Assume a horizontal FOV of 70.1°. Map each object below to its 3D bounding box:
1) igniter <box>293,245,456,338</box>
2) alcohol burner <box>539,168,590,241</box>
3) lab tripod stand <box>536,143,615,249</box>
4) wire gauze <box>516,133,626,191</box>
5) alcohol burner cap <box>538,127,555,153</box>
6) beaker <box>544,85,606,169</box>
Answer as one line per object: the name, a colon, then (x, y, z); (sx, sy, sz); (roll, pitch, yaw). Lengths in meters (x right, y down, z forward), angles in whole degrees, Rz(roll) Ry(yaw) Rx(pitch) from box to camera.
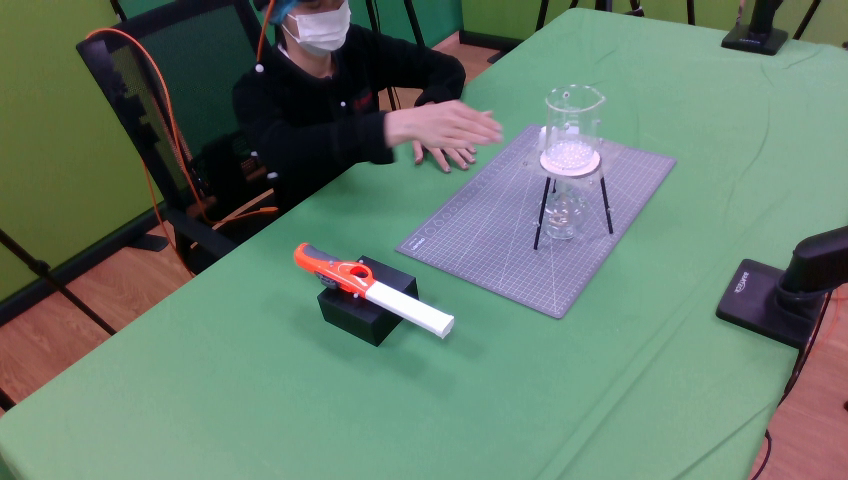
igniter: (-0.079, 0.065, 0.834); (0.274, 0.025, 0.057); (23, 48, 27)
alcohol burner: (0.217, -0.059, 0.935); (0.078, 0.119, 0.077); (-6, 40, 6)
lab tripod stand: (0.224, -0.069, 0.931); (0.148, 0.132, 0.147); (-4, 42, 4)
wire gauze: (0.217, -0.122, 0.893); (0.124, 0.011, 0.122); (20, 47, 32)
alcohol burner cap: (0.234, -0.191, 1.147); (0.034, 0.048, 0.033); (-5, 40, 5)
beaker: (0.212, -0.158, 0.861); (0.084, 0.101, 0.073); (-3, 41, 6)
